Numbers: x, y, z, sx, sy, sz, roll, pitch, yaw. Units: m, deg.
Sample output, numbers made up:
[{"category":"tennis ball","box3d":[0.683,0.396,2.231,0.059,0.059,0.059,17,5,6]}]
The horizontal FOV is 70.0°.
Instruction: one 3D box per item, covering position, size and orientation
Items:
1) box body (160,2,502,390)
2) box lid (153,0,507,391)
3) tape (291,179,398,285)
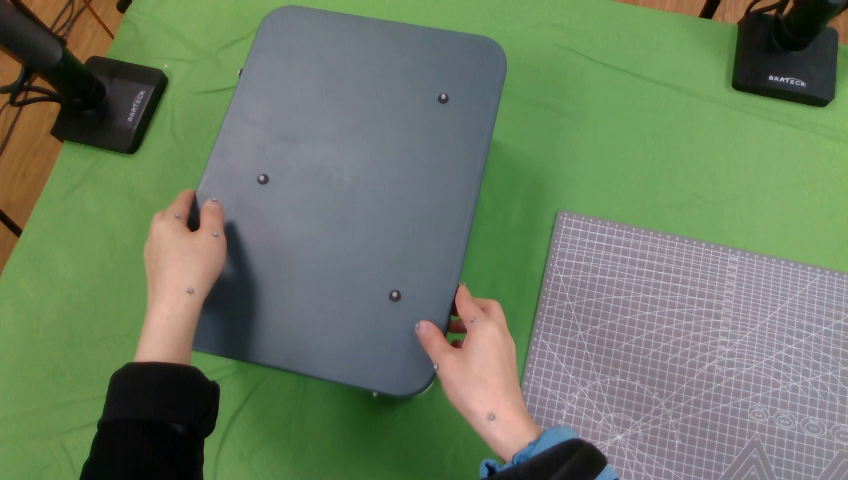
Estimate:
[{"category":"box body","box3d":[-0.076,-0.038,0.649,0.254,0.161,0.362,12,74,5]},{"category":"box lid","box3d":[-0.079,-0.064,0.576,0.263,0.015,0.369,12,73,6]},{"category":"tape","box3d":[-0.089,-0.007,0.691,0.117,0.053,0.116,-1,70,4]}]
